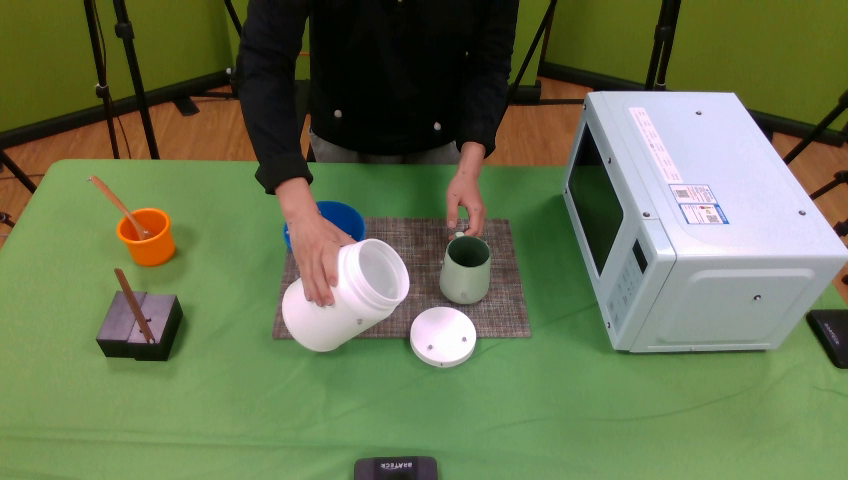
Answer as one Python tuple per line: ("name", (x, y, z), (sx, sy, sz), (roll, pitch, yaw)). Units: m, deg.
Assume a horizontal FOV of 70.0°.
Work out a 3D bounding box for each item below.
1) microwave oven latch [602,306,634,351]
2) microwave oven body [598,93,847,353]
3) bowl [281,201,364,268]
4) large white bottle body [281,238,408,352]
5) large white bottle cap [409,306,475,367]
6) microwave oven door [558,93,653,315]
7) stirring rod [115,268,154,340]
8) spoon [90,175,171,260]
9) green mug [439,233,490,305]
("microwave oven latch", (0.332, 0.153, 1.044), (0.030, 0.029, 0.078), (0, 45, -4))
("microwave oven body", (0.475, -0.041, 1.109), (0.326, 0.261, 0.438), (-1, 45, -4))
("bowl", (-0.187, 0.005, 1.138), (0.151, 0.077, 0.150), (3, 46, -3))
("large white bottle body", (-0.125, 0.086, 0.966), (0.131, 0.184, 0.130), (33, 39, -31))
("large white bottle cap", (0.031, 0.164, 1.040), (0.115, 0.018, 0.114), (2, 50, -3))
("microwave oven door", (0.327, -0.074, 1.123), (0.039, 0.245, 0.353), (-1, 46, -5))
("stirring rod", (-0.479, 0.102, 0.999), (0.014, 0.006, 0.175), (8, 32, -49))
("spoon", (-0.539, -0.042, 1.111), (0.041, 0.194, 0.021), (-45, 19, -32))
("green mug", (0.072, 0.044, 1.101), (0.092, 0.105, 0.124), (-6, 46, -9))
